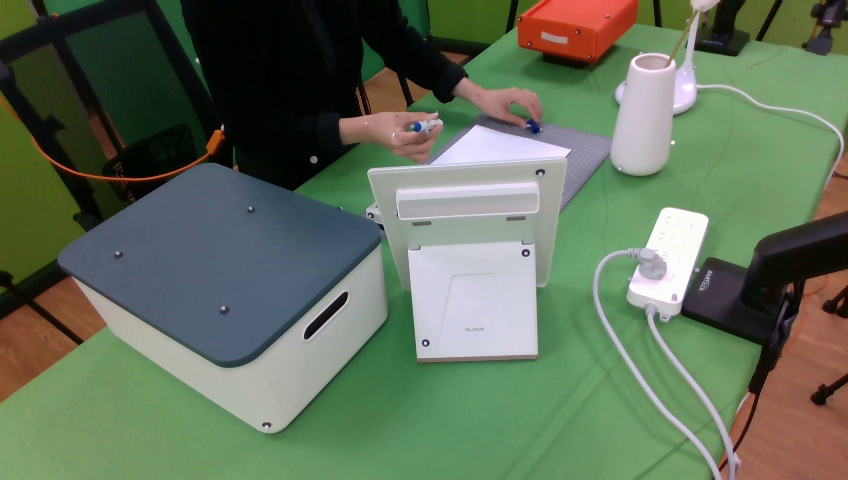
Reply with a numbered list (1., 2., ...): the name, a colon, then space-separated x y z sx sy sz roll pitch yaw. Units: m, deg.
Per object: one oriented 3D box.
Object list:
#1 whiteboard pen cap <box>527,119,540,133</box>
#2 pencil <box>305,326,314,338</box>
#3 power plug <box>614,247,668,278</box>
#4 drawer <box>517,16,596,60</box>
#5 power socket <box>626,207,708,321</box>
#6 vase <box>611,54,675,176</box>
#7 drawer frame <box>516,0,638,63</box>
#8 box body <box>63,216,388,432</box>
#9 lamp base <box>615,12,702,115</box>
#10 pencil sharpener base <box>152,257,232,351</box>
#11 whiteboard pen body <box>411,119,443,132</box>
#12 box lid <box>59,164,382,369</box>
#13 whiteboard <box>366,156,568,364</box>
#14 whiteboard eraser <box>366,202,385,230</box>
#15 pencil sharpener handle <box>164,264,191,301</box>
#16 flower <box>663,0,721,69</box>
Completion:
1. whiteboard pen cap: 0.220 -0.228 1.211 0.018 0.018 0.033 -13 39 -7
2. pencil: -0.187 0.105 0.879 0.012 0.012 0.192 -27 42 -22
3. power plug: 0.306 0.031 0.851 0.072 0.053 0.035 24 49 33
4. drawer: 0.353 -0.506 1.405 0.193 0.073 0.212 23 49 32
5. power socket: 0.359 0.025 0.886 0.072 0.033 0.227 16 46 26
6. vase: 0.377 -0.209 1.031 0.098 0.201 0.097 -3 40 3
7. drawer frame: 0.355 -0.508 1.411 0.200 0.083 0.214 23 51 32
8. box body: -0.256 0.065 0.827 0.361 0.161 0.255 20 48 29
9. lamp base: 0.484 -0.364 1.211 0.180 0.181 0.159 -15 41 -14
10. pencil sharpener base: -0.322 0.088 0.842 0.061 0.107 0.076 -27 44 -20
11. whiteboard pen body: 0.009 -0.186 0.972 0.017 0.017 0.141 8 15 17
12. box lid: -0.263 0.010 0.777 0.368 0.015 0.264 20 47 29
13. whiteboard: 0.059 0.050 0.738 0.217 0.307 0.143 -2 60 6
14. whiteboard eraser: -0.038 -0.038 1.006 0.112 0.042 0.055 16 47 25
15. pencil sharpener handle: -0.354 0.055 0.866 0.036 0.068 0.030 -16 39 -29
16. flower: 0.379 -0.261 0.965 0.044 0.362 0.038 20 53 5
